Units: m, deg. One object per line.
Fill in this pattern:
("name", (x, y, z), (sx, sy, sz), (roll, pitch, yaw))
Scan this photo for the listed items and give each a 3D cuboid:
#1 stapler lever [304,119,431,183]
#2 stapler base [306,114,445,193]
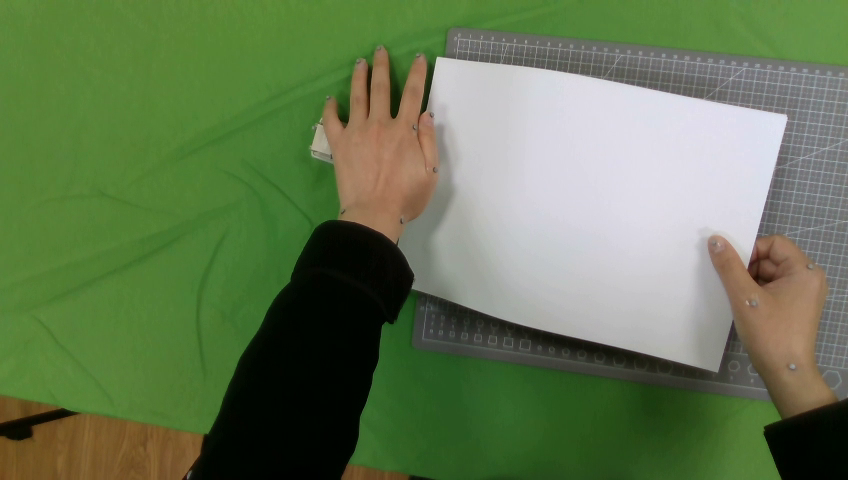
("stapler lever", (-0.051, -0.079, 0.532), (0.118, 0.040, 0.027), (19, 92, 5))
("stapler base", (-0.047, -0.080, 0.556), (0.130, 0.024, 0.041), (19, 92, 6))
